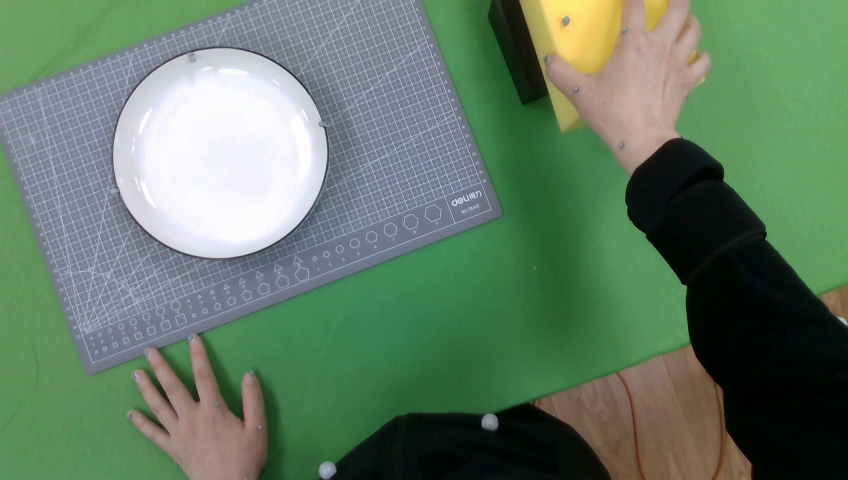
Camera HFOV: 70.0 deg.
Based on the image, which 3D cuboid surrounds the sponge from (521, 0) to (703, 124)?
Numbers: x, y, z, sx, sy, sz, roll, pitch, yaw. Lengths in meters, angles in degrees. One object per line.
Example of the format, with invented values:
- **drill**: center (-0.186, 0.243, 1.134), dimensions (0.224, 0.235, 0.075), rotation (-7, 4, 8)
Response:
- **sponge**: center (0.155, -0.224, 0.551), dimensions (0.118, 0.061, 0.206), rotation (-18, 89, -1)

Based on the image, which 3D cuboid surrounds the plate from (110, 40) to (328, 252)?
- **plate**: center (-0.197, -0.090, 0.599), dimensions (0.209, 0.038, 0.209), rotation (0, 88, -1)
